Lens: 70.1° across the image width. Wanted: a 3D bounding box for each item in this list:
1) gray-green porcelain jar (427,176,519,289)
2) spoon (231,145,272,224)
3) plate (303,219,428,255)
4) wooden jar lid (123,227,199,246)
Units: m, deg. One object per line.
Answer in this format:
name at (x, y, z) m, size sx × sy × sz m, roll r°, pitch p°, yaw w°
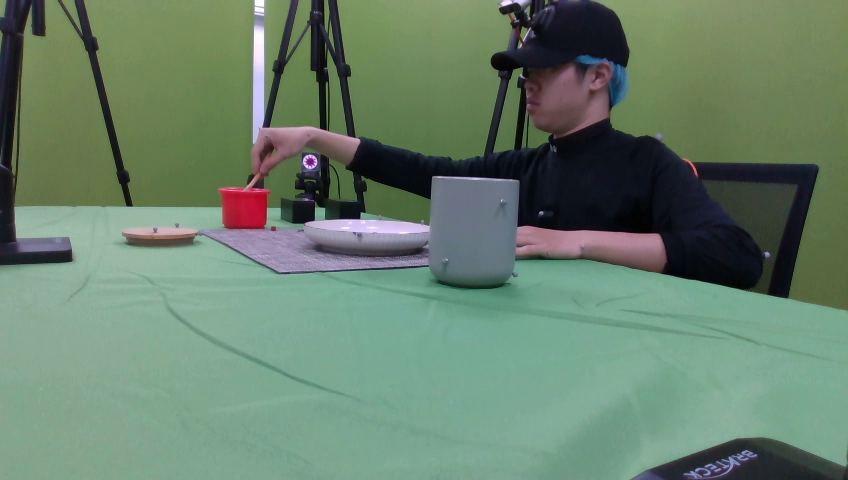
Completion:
gray-green porcelain jar at (0.057, -0.010, 0.722) m, size 0.106 × 0.126 × 0.106 m, roll 2°, pitch 7°, yaw 0°
spoon at (-0.343, -0.117, 1.215) m, size 0.021 × 0.193 × 0.042 m, roll -20°, pitch -43°, yaw 39°
plate at (-0.084, -0.005, 0.952) m, size 0.208 × 0.039 × 0.207 m, roll 3°, pitch 7°, yaw 0°
wooden jar lid at (-0.408, -0.006, 0.942) m, size 0.108 × 0.020 × 0.108 m, roll 3°, pitch 6°, yaw 0°
